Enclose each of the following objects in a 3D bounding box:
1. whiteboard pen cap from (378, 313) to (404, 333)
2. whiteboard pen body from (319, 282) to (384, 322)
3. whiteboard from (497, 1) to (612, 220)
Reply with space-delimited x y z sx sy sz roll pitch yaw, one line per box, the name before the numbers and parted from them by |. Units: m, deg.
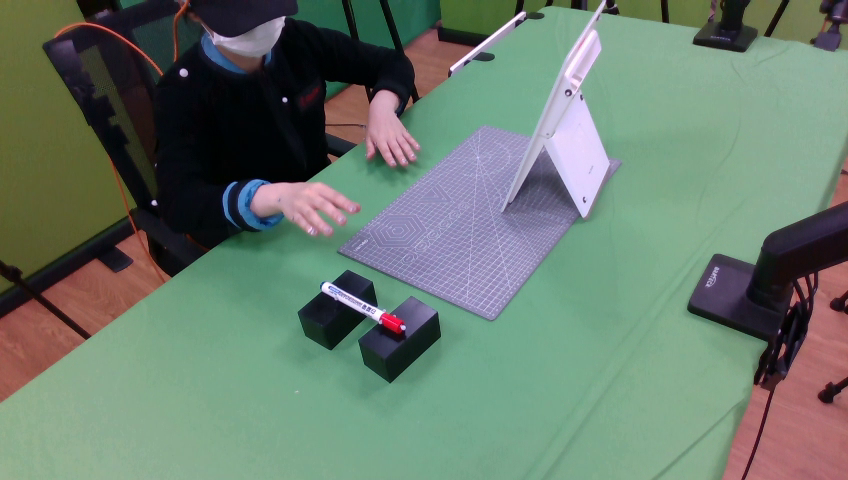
whiteboard pen cap | -0.043 0.106 0.777 0.032 0.017 0.017 23 49 33
whiteboard pen body | -0.089 0.086 0.806 0.139 0.017 0.017 23 49 32
whiteboard | 0.260 -0.178 0.963 0.143 0.306 0.217 28 49 9
